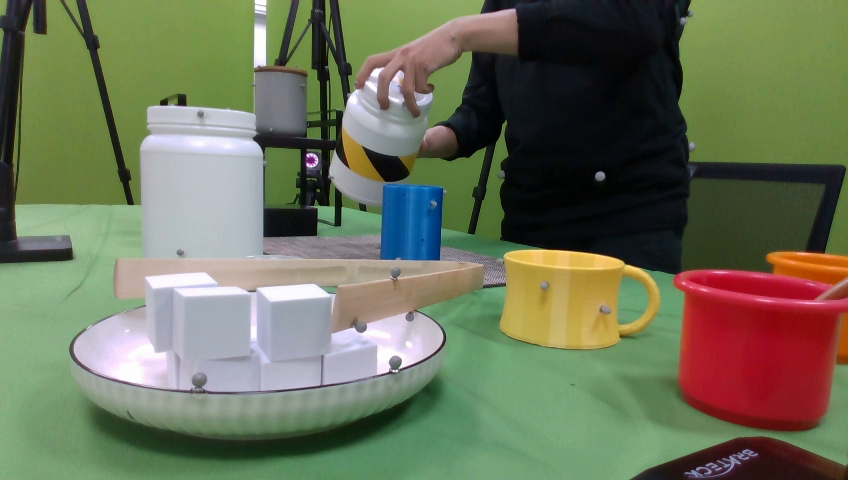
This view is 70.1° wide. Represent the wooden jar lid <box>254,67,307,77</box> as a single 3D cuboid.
[{"bbox_3d":[-0.296,-0.339,1.251,0.108,0.020,0.108,2,7,0],"label":"wooden jar lid"}]

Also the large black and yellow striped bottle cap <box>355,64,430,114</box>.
[{"bbox_3d":[-0.046,-0.229,0.912,0.115,0.019,0.115,17,37,-13],"label":"large black and yellow striped bottle cap"}]

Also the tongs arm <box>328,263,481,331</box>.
[{"bbox_3d":[-0.003,0.036,0.493,0.050,0.026,0.386,1,-1,19],"label":"tongs arm"}]

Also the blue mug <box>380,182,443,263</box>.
[{"bbox_3d":[-0.019,-0.026,0.833,0.082,0.106,0.116,1,7,-7],"label":"blue mug"}]

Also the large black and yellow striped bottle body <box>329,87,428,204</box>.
[{"bbox_3d":[-0.071,-0.164,0.966,0.131,0.184,0.130,14,38,-11],"label":"large black and yellow striped bottle body"}]

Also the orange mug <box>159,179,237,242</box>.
[{"bbox_3d":[-0.368,-0.052,0.991,0.127,0.101,0.083,-10,14,-41],"label":"orange mug"}]

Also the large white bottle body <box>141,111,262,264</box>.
[{"bbox_3d":[-0.254,-0.053,0.697,0.131,0.184,0.130,2,7,0],"label":"large white bottle body"}]

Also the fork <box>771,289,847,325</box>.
[{"bbox_3d":[0.335,0.018,0.443,0.028,0.018,0.207,-1,-36,-20],"label":"fork"}]

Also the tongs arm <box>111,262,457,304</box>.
[{"bbox_3d":[-0.080,0.033,0.527,0.028,0.027,0.389,-3,-4,33],"label":"tongs arm"}]

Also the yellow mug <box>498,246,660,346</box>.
[{"bbox_3d":[0.130,0.045,0.508,0.131,0.064,0.100,4,7,6],"label":"yellow mug"}]

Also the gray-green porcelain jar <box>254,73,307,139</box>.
[{"bbox_3d":[-0.298,-0.277,1.259,0.106,0.126,0.106,3,7,0],"label":"gray-green porcelain jar"}]

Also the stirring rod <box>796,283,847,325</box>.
[{"bbox_3d":[0.346,0.019,0.460,0.014,0.176,0.006,-17,59,-26],"label":"stirring rod"}]

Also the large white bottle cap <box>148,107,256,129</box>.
[{"bbox_3d":[-0.250,-0.137,0.686,0.115,0.018,0.115,2,8,0],"label":"large white bottle cap"}]

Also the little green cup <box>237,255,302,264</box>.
[{"bbox_3d":[-0.150,0.038,0.590,0.061,0.038,0.061,3,6,0],"label":"little green cup"}]

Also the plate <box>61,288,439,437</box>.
[{"bbox_3d":[-0.095,0.069,0.362,0.208,0.039,0.207,3,7,0],"label":"plate"}]

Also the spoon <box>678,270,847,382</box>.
[{"bbox_3d":[0.229,0.031,0.338,0.193,0.021,0.042,-44,-16,27],"label":"spoon"}]
